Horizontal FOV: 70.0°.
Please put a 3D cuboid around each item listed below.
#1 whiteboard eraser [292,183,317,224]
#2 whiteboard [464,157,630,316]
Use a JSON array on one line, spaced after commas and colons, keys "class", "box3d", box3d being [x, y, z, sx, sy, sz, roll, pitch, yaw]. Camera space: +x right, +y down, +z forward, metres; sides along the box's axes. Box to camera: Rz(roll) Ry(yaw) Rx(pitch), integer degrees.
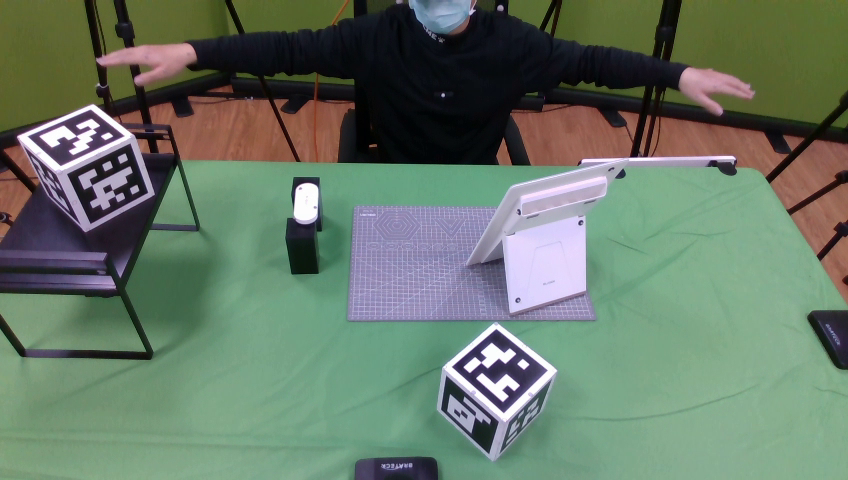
[{"class": "whiteboard eraser", "box3d": [-0.217, -0.068, 1.108, 0.041, 0.019, 0.100, -2, 46, -4]}, {"class": "whiteboard", "box3d": [0.224, 0.015, 1.042, 0.217, 0.306, 0.143, -14, 68, -17]}]
